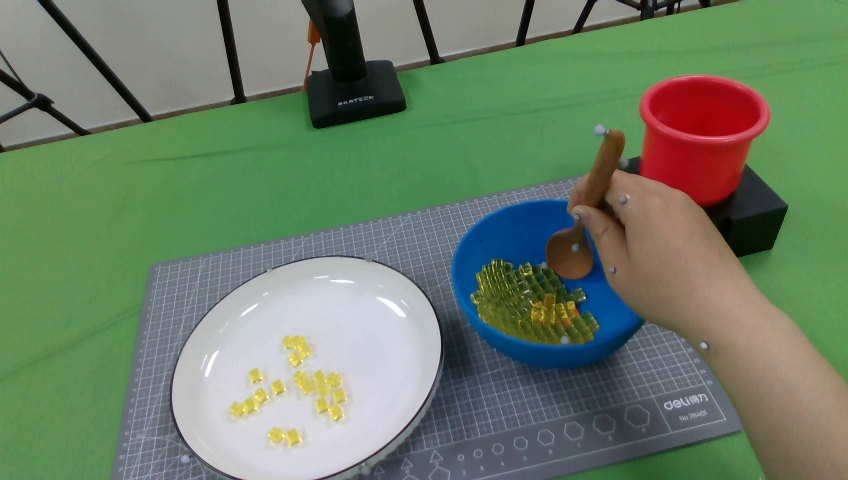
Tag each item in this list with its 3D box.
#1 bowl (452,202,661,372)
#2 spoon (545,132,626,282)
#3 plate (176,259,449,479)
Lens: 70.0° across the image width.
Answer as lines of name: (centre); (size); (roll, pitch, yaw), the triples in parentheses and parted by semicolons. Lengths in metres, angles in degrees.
bowl: (0.099, 0.048, 0.469); (0.151, 0.077, 0.150); (-4, 44, 5)
spoon: (0.111, -0.013, 0.414); (0.041, 0.195, 0.021); (33, 74, 16)
plate: (-0.083, 0.101, 0.474); (0.207, 0.039, 0.205); (-4, 44, 5)
